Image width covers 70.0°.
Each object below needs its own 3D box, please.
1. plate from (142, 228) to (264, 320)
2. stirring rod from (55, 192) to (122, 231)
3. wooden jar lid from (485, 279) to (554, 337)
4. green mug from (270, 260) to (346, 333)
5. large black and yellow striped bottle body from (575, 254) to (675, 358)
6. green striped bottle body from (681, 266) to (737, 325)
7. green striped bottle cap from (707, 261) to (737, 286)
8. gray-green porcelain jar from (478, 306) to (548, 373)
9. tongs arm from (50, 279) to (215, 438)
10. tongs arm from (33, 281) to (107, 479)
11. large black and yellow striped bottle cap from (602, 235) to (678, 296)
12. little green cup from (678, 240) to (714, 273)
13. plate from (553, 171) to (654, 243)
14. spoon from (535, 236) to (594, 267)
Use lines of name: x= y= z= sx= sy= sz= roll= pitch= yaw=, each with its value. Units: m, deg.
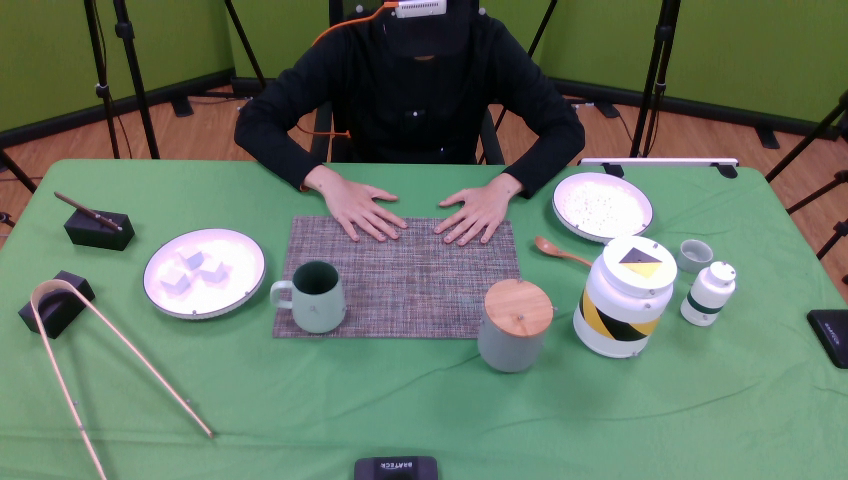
plate: x=-0.394 y=0.064 z=1.095 sx=0.208 sy=0.039 sz=0.206 roll=2 pitch=46 yaw=-2
stirring rod: x=-0.632 y=-0.055 z=1.138 sx=0.175 sy=0.014 sz=0.006 roll=24 pitch=50 yaw=19
wooden jar lid: x=0.147 y=0.108 z=0.940 sx=0.108 sy=0.021 sz=0.107 roll=4 pitch=47 yaw=-4
green mug: x=-0.197 y=0.097 z=1.026 sx=0.125 sy=0.105 sz=0.092 roll=0 pitch=46 yaw=-3
large black and yellow striped bottle body: x=0.335 y=0.096 z=1.014 sx=0.131 sy=0.185 sz=0.130 roll=2 pitch=46 yaw=-2
green striped bottle body: x=0.507 y=0.093 z=1.074 sx=0.063 sy=0.120 sz=0.063 roll=2 pitch=46 yaw=-2
green striped bottle cap: x=0.510 y=0.058 z=1.036 sx=0.044 sy=0.020 sz=0.044 roll=0 pitch=45 yaw=0
gray-green porcelain jar: x=0.144 y=0.148 z=0.989 sx=0.106 sy=0.127 sz=0.105 roll=2 pitch=50 yaw=-2
tongs arm: x=-0.459 y=0.178 z=0.949 sx=0.386 sy=0.028 sz=0.028 roll=37 pitch=60 yaw=17
tongs arm: x=-0.517 y=0.214 z=0.910 sx=0.051 sy=0.026 sz=0.383 roll=-28 pitch=63 yaw=-27
large black and yellow striped bottle cap: x=0.340 y=0.037 z=0.956 sx=0.115 sy=0.019 sz=0.114 roll=2 pitch=47 yaw=-1
little green cup: x=0.531 y=0.033 z=1.190 sx=0.061 sy=0.039 sz=0.061 roll=1 pitch=46 yaw=-1
plate: x=0.373 y=-0.066 z=1.275 sx=0.209 sy=0.038 sz=0.208 roll=2 pitch=46 yaw=-2
spoon: x=0.303 y=0.040 z=1.178 sx=0.193 sy=0.022 sz=0.041 roll=25 pitch=31 yaw=19
